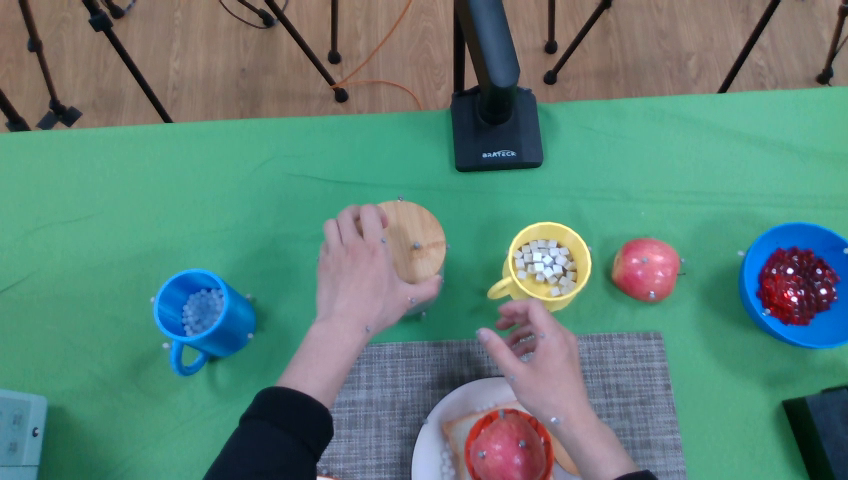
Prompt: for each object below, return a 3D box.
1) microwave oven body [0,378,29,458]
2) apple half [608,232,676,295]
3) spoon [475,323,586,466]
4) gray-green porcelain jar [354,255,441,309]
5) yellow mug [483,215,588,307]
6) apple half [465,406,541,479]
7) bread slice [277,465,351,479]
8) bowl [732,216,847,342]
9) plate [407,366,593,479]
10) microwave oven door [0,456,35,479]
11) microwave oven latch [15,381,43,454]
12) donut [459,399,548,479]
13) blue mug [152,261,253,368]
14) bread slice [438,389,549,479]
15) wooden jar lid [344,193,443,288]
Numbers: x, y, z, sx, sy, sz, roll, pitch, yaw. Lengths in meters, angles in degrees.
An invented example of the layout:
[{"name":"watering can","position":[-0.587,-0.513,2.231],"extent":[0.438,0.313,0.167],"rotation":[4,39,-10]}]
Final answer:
[{"name":"microwave oven body","position":[-0.604,0.345,0.546],"extent":[0.326,0.261,0.439],"rotation":[-2,72,0]},{"name":"apple half","position":[0.275,0.024,0.756],"extent":[0.074,0.054,0.080],"rotation":[18,73,9]},{"name":"spoon","position":[0.119,0.173,0.693],"extent":[0.042,0.022,0.193],"rotation":[-24,76,-41]},{"name":"gray-green porcelain jar","position":[-0.032,0.023,0.721],"extent":[0.106,0.127,0.105],"rotation":[0,71,1]},{"name":"yellow mug","position":[0.132,0.034,0.747],"extent":[0.131,0.064,0.099],"rotation":[-25,73,-7]},{"name":"apple half","position":[0.084,0.215,0.631],"extent":[0.081,0.033,0.081],"rotation":[-2,72,8]},{"name":"bread slice","position":[-0.131,0.321,0.677],"extent":[0.105,0.019,0.131],"rotation":[5,73,2]},{"name":"bowl","position":[0.438,0.054,0.730],"extent":[0.151,0.077,0.150],"rotation":[0,72,1]},{"name":"plate","position":[0.084,0.249,0.687],"extent":[0.208,0.039,0.206],"rotation":[0,72,1]},{"name":"microwave oven door","position":[-0.457,0.377,0.528],"extent":[0.039,0.245,0.353],"rotation":[-3,71,0]},{"name":"microwave oven latch","position":[-0.462,0.202,0.693],"extent":[0.030,0.029,0.078],"rotation":[3,72,1]},{"name":"donut","position":[0.088,0.225,0.665],"extent":[0.099,0.048,0.098],"rotation":[0,71,0]},{"name":"blue mug","position":[-0.263,0.094,0.710],"extent":[0.082,0.106,0.116],"rotation":[17,73,6]},{"name":"bread slice","position":[0.088,0.248,0.688],"extent":[0.107,0.018,0.133],"rotation":[-19,74,-5]},{"name":"wooden jar lid","position":[-0.033,0.002,0.663],"extent":[0.108,0.021,0.107],"rotation":[-1,70,2]}]
